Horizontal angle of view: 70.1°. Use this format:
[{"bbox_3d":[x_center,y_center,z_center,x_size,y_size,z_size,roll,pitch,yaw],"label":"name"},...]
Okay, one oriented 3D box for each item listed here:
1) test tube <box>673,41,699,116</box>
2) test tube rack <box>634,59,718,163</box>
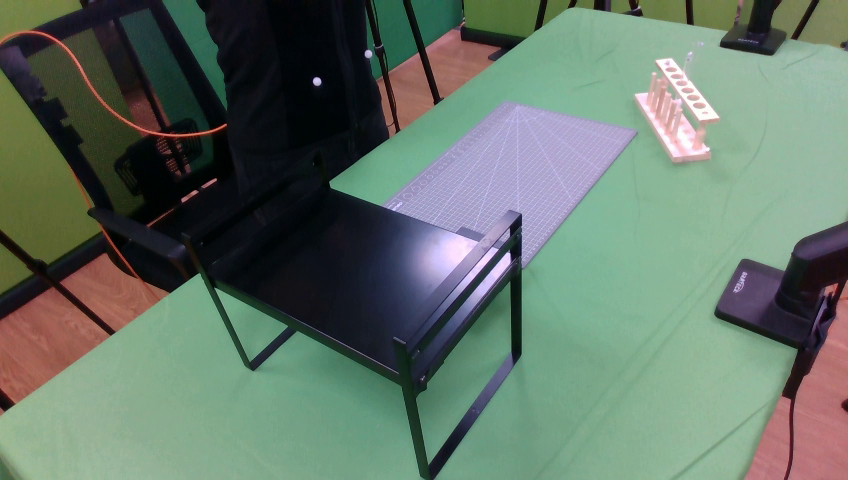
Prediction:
[{"bbox_3d":[0.484,-0.297,1.124,0.017,0.151,0.017,-1,43,2],"label":"test tube"},{"bbox_3d":[0.470,-0.250,1.148,0.067,0.085,0.241,-6,40,3],"label":"test tube rack"}]
